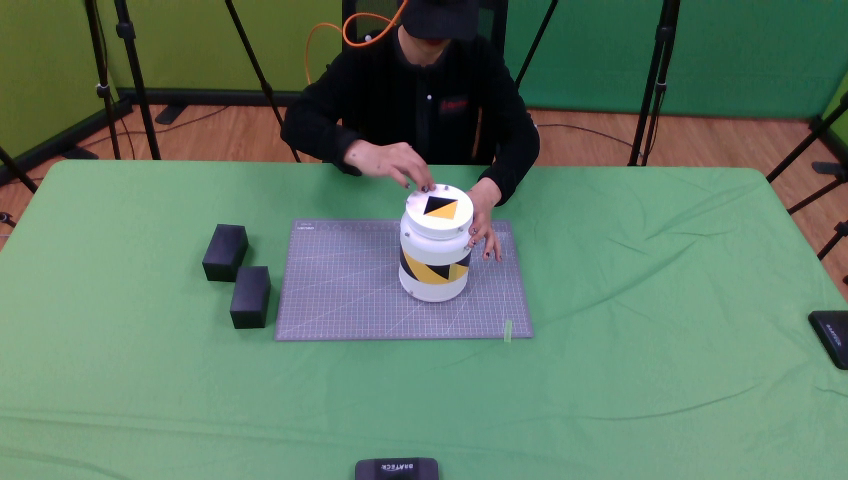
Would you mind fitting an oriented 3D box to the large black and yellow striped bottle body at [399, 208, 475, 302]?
[{"bbox_3d":[0.021,0.007,1.075,0.131,0.185,0.130,2,46,-2],"label":"large black and yellow striped bottle body"}]

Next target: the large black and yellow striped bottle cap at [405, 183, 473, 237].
[{"bbox_3d":[0.026,-0.052,1.015,0.115,0.019,0.114,2,48,-2],"label":"large black and yellow striped bottle cap"}]
